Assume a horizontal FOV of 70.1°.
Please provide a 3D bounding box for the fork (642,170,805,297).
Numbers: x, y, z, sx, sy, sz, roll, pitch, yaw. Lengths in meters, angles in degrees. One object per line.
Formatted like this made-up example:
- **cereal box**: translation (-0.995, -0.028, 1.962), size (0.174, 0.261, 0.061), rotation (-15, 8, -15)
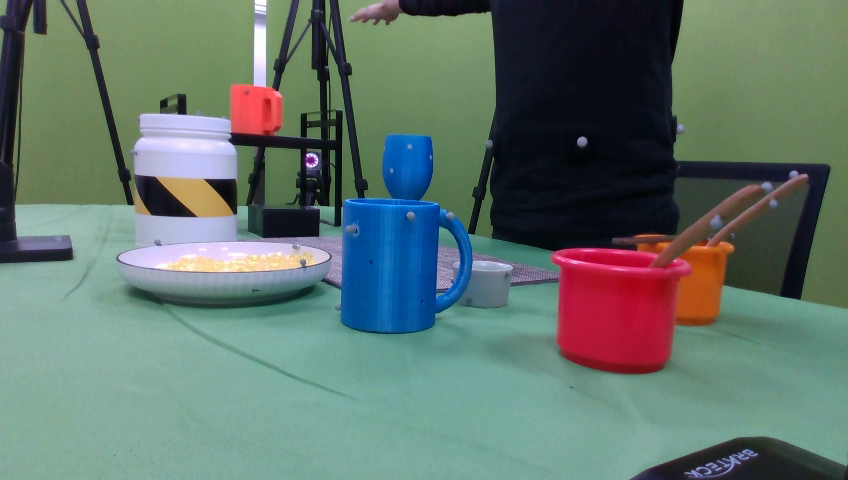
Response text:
- **fork**: translation (0.261, 0.004, 0.545), size (0.028, 0.018, 0.207), rotation (6, -38, -15)

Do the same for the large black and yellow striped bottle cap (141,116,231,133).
- **large black and yellow striped bottle cap**: translation (-0.324, -0.157, 0.826), size (0.115, 0.019, 0.115), rotation (1, 7, 0)

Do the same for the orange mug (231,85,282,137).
- **orange mug**: translation (-0.335, -0.261, 1.225), size (0.125, 0.100, 0.084), rotation (2, 6, 35)

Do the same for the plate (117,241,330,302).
- **plate**: translation (-0.203, 0.031, 0.630), size (0.209, 0.038, 0.209), rotation (3, 7, 0)

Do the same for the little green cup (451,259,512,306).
- **little green cup**: translation (0.057, 0.043, 0.612), size (0.061, 0.038, 0.061), rotation (3, 8, 0)

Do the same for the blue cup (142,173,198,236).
- **blue cup**: translation (-0.425, -0.060, 1.014), size (0.093, 0.100, 0.092), rotation (4, 9, 0)

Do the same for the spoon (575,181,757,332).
- **spoon**: translation (0.156, 0.020, 0.412), size (0.042, 0.021, 0.193), rotation (1, -36, -16)

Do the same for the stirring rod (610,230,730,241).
- **stirring rod**: translation (0.241, -0.005, 0.582), size (0.177, 0.006, 0.014), rotation (-3, 9, -34)

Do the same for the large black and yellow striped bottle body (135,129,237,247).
- **large black and yellow striped bottle body**: translation (-0.327, -0.074, 0.838), size (0.131, 0.184, 0.130), rotation (2, 7, 0)

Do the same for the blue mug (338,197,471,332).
- **blue mug**: translation (-0.016, 0.018, 0.523), size (0.117, 0.106, 0.082), rotation (1, 8, -13)

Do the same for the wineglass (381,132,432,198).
- **wineglass**: translation (-0.026, -0.062, 0.841), size (0.074, 0.172, 0.073), rotation (2, 7, 0)
